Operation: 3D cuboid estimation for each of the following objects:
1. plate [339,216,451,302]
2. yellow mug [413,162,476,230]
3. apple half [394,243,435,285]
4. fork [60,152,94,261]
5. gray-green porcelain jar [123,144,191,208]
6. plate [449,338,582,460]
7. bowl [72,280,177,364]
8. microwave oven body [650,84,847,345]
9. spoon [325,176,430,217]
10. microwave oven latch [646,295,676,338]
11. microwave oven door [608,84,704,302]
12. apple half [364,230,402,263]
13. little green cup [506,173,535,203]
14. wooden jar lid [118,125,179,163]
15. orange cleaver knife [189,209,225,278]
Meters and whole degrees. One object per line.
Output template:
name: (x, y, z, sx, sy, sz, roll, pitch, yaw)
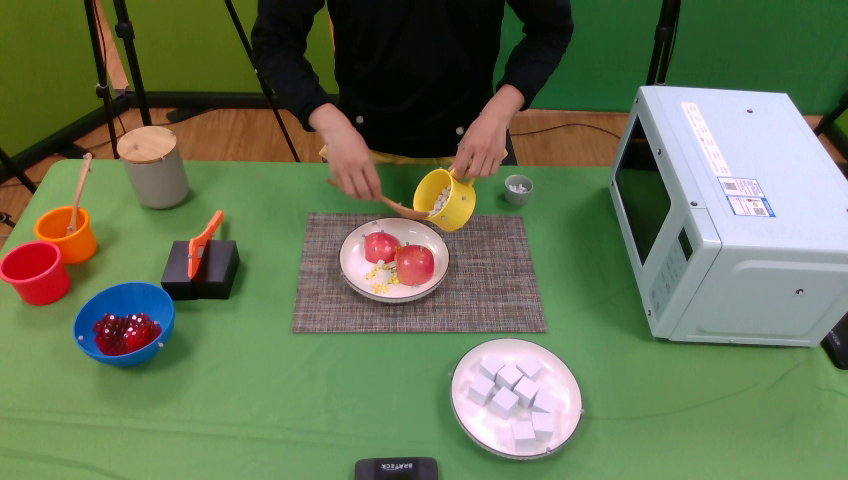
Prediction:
plate: (-0.054, 0.038, 1.137, 0.209, 0.038, 0.208, 2, 46, -2)
yellow mug: (0.046, -0.088, 1.105, 0.064, 0.131, 0.099, 26, 17, -41)
apple half: (-0.016, 0.036, 1.120, 0.075, 0.053, 0.080, 1, 46, -6)
fork: (-0.638, -0.063, 1.119, 0.028, 0.018, 0.207, 12, 90, 9)
gray-green porcelain jar: (-0.530, -0.137, 1.213, 0.106, 0.127, 0.105, 2, 46, -2)
plate: (0.141, 0.251, 0.956, 0.208, 0.039, 0.206, 2, 47, -2)
bowl: (-0.472, 0.147, 0.982, 0.151, 0.077, 0.150, 2, 46, -2)
microwave oven body: (0.569, -0.054, 1.116, 0.326, 0.261, 0.439, 2, 46, -1)
spoon: (-0.081, -0.077, 1.064, 0.194, 0.041, 0.021, 23, 82, -5)
microwave oven latch: (0.413, 0.133, 1.060, 0.030, 0.029, 0.078, 4, 46, 1)
microwave oven door: (0.424, -0.096, 1.138, 0.039, 0.245, 0.353, 2, 47, -1)
apple half: (-0.079, 0.004, 1.160, 0.081, 0.033, 0.081, 2, 49, -3)
little green cup: (0.205, -0.111, 1.302, 0.061, 0.039, 0.061, 1, 45, -1)
wooden jar lid: (-0.528, -0.181, 1.167, 0.108, 0.021, 0.107, 4, 48, -4)
orange cleaver knife: (-0.400, 0.002, 1.122, 0.012, 0.077, 0.210, 4, 23, -4)
